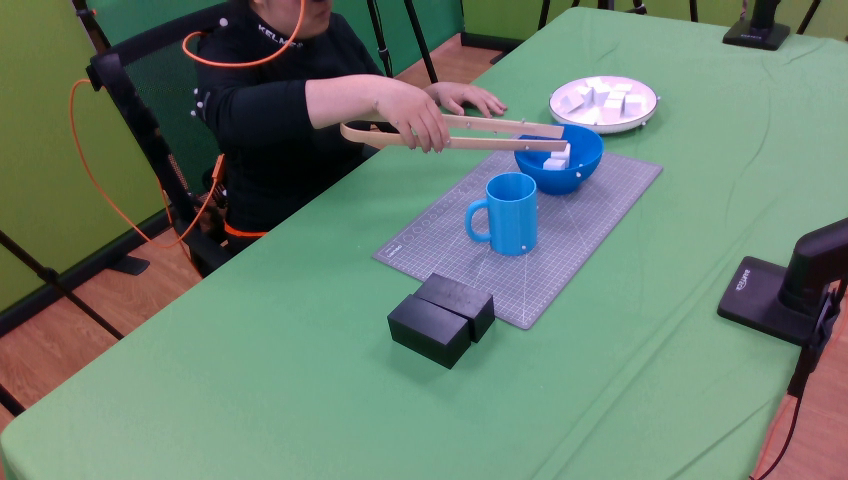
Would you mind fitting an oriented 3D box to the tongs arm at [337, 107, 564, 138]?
[{"bbox_3d":[0.048,-0.192,1.033,0.385,0.026,0.050,7,52,-1],"label":"tongs arm"}]

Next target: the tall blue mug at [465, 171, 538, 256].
[{"bbox_3d":[0.125,-0.033,0.925,0.107,0.108,0.077,-32,46,-25],"label":"tall blue mug"}]

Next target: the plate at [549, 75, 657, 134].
[{"bbox_3d":[0.357,-0.269,1.220,0.209,0.038,0.208,-5,41,5],"label":"plate"}]

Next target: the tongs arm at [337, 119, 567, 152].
[{"bbox_3d":[0.047,-0.172,1.017,0.388,0.028,0.028,4,55,-3],"label":"tongs arm"}]

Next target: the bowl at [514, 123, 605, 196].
[{"bbox_3d":[0.232,-0.131,1.045,0.151,0.077,0.150,-5,40,5],"label":"bowl"}]
